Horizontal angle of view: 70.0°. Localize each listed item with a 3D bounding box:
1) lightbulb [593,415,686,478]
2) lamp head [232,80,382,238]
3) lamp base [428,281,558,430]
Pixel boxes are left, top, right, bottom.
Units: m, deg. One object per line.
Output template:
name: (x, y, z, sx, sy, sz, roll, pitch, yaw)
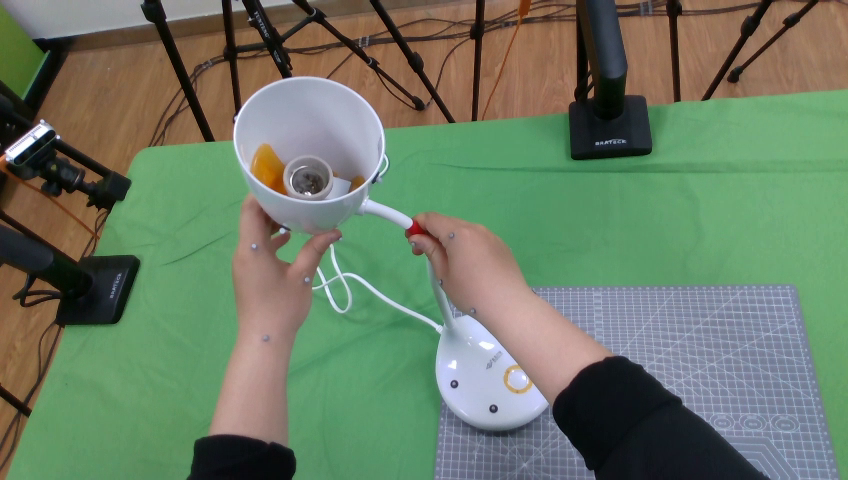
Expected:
lightbulb: (0.245, 0.230, 0.695, 0.107, 0.060, 0.059, 17, 64, 40)
lamp head: (-0.092, -0.051, 0.502, 0.112, 0.123, 0.111, 3, 65, -5)
lamp base: (0.065, 0.122, 0.726, 0.178, 0.182, 0.160, 22, 66, 28)
